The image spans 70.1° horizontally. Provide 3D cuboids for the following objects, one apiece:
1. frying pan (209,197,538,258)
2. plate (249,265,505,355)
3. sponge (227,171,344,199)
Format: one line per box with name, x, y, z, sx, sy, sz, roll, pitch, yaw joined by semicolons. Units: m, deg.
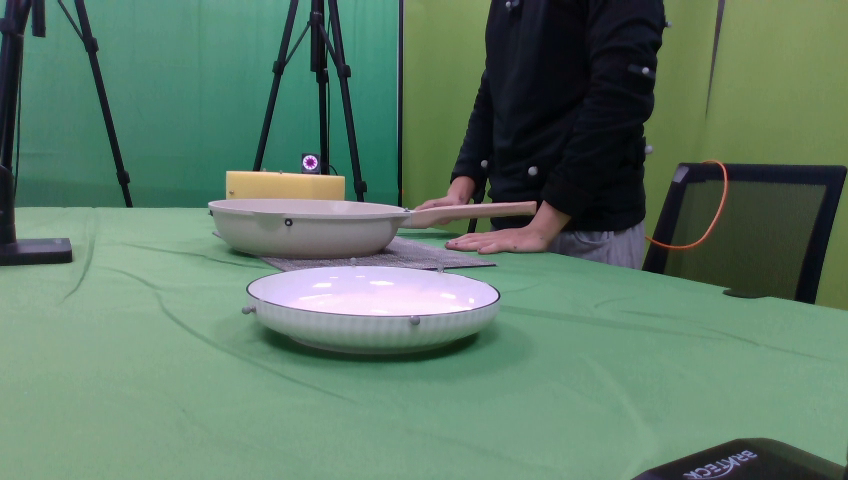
frying pan;-0.076;-0.034;0.912;0.487;0.102;0.307;-5;7;12
plate;-0.037;0.056;0.504;0.208;0.039;0.207;2;7;0
sponge;-0.283;-0.108;1.242;0.206;0.061;0.118;5;8;23
